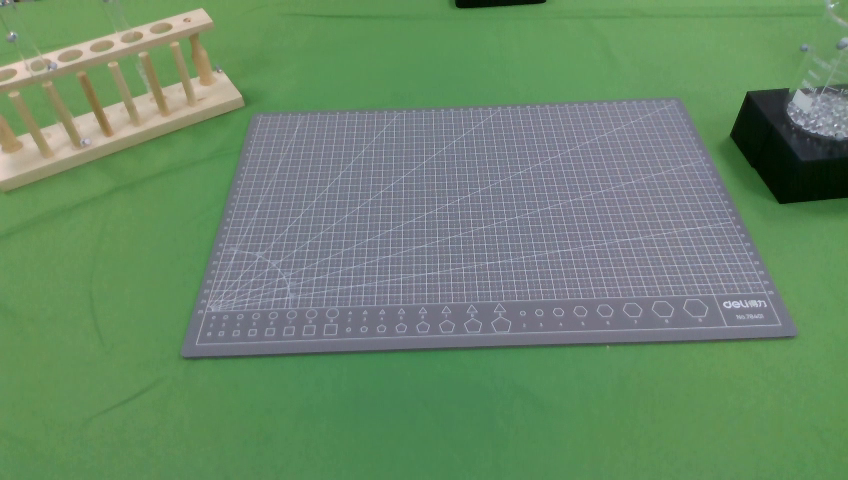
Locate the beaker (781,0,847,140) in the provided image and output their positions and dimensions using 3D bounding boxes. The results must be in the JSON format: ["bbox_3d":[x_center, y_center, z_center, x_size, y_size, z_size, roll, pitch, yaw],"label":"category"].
[{"bbox_3d":[0.345,-0.141,0.496,0.074,0.101,0.083,-23,50,-17],"label":"beaker"}]

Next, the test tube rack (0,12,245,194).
[{"bbox_3d":[-0.314,-0.140,0.602,0.242,0.086,0.066,-26,51,-20],"label":"test tube rack"}]

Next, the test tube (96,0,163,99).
[{"bbox_3d":[-0.292,-0.201,0.588,0.017,0.152,0.017,-5,48,5],"label":"test tube"}]

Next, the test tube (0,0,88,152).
[{"bbox_3d":[-0.342,-0.142,0.544,0.017,0.152,0.017,-1,45,2],"label":"test tube"}]
